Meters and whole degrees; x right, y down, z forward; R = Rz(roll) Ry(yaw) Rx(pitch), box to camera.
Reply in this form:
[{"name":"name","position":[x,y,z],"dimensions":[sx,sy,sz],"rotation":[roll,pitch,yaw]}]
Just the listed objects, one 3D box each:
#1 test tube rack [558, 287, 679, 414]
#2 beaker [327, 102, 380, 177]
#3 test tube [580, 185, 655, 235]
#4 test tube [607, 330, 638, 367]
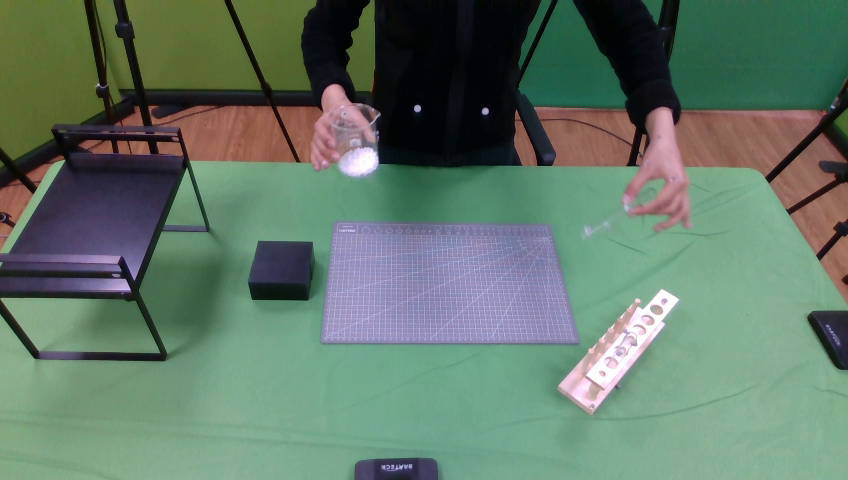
[{"name":"test tube rack","position":[0.326,0.170,1.009],"dimensions":[0.066,0.085,0.242],"rotation":[36,54,27]},{"name":"beaker","position":[-0.107,-0.159,0.969],"dimensions":[0.084,0.101,0.073],"rotation":[-17,47,-16]},{"name":"test tube","position":[0.300,-0.047,0.930],"dimensions":[0.150,0.017,0.017],"rotation":[-29,54,-19]},{"name":"test tube","position":[0.293,0.184,0.925],"dimensions":[0.017,0.151,0.017],"rotation":[4,49,-4]}]
